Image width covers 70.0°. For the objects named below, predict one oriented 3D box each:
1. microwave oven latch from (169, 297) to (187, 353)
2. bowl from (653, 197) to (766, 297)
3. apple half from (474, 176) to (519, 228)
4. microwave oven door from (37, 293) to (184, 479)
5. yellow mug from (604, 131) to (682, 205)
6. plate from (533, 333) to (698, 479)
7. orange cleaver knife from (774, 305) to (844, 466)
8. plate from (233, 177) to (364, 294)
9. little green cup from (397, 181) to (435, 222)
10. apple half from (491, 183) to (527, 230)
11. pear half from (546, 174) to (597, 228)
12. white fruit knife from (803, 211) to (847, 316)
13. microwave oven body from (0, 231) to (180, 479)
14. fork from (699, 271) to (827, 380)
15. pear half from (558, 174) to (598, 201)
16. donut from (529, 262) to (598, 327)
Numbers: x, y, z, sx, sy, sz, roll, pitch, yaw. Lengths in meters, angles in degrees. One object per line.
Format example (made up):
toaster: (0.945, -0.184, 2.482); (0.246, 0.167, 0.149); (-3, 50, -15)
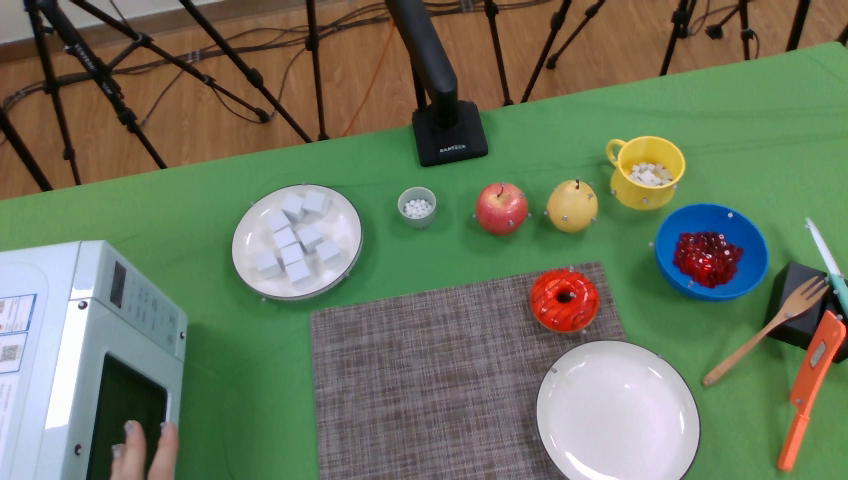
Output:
microwave oven latch: (-0.367, 0.125, 0.891); (0.030, 0.030, 0.078); (-6, 62, 2)
bowl: (0.400, 0.022, 0.875); (0.151, 0.077, 0.150); (-2, 63, 4)
apple half: (0.108, -0.064, 0.950); (0.053, 0.075, 0.080); (35, 73, 25)
microwave oven door: (-0.356, 0.268, 0.698); (0.039, 0.246, 0.352); (-8, 61, 1)
yellow mug: (0.339, -0.124, 0.964); (0.100, 0.064, 0.129); (-39, 65, -14)
plate: (0.248, 0.227, 0.798); (0.209, 0.038, 0.207); (-2, 62, 4)
orange cleaver knife: (0.488, 0.185, 0.777); (0.012, 0.077, 0.211); (19, 95, 13)
plate: (-0.197, -0.005, 0.966); (0.207, 0.039, 0.206); (-2, 62, 4)
little green cup: (-0.011, -0.059, 0.978); (0.061, 0.039, 0.061); (-2, 62, 5)
apple half: (0.138, -0.044, 0.935); (0.032, 0.082, 0.081); (35, 70, 25)
pear half: (0.221, -0.058, 0.915); (0.076, 0.111, 0.055); (17, 64, 19)
white fruit knife: (0.562, 0.047, 0.826); (0.027, 0.016, 0.205); (7, 57, -24)
microwave oven body: (-0.505, 0.253, 0.725); (0.326, 0.262, 0.437); (-7, 62, 1)
fork: (0.451, 0.118, 0.814); (0.207, 0.019, 0.028); (-43, 72, 5)
pear half: (0.238, -0.082, 0.938); (0.070, 0.089, 0.031); (16, 65, 19)
donut: (0.201, 0.078, 0.877); (0.099, 0.048, 0.098); (-3, 63, 6)
